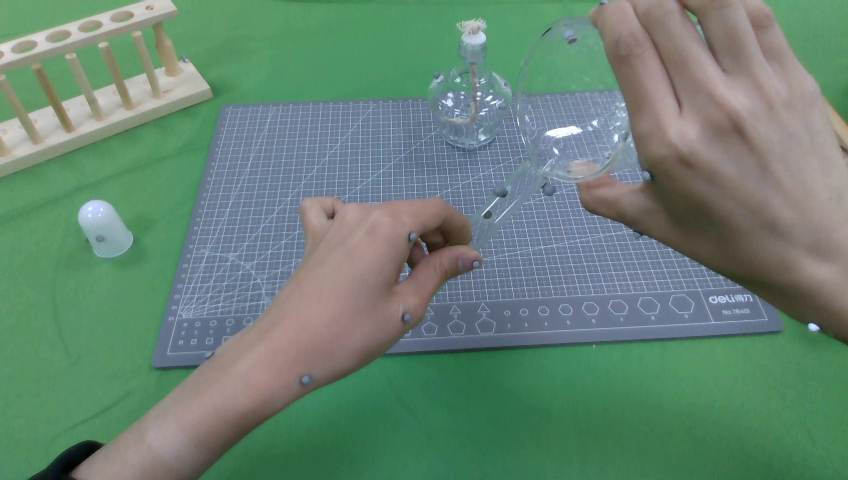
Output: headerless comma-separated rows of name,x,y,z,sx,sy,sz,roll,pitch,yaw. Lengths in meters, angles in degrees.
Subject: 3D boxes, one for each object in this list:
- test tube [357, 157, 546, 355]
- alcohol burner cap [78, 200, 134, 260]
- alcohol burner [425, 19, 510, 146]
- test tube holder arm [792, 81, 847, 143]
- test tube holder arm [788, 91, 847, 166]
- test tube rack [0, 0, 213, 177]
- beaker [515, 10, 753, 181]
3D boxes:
test tube,0.010,0.013,0.334,0.150,0.017,0.017,-48,50,21
alcohol burner cap,-0.258,-0.011,0.485,0.034,0.048,0.033,0,49,0
alcohol burner,0.040,-0.143,0.540,0.078,0.120,0.077,0,51,0
test tube holder arm,0.330,-0.101,0.494,0.015,0.010,0.087,1,48,-7
test tube holder arm,0.332,-0.065,0.468,0.015,0.013,0.176,1,47,-7
test tube rack,-0.337,-0.142,0.569,0.242,0.086,0.066,-28,54,-21
beaker,0.106,-0.071,0.304,0.100,0.084,0.073,-14,55,-30
